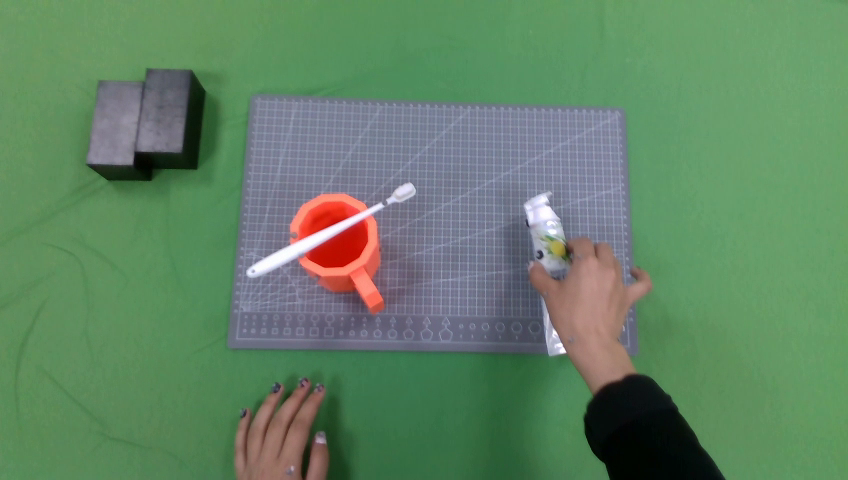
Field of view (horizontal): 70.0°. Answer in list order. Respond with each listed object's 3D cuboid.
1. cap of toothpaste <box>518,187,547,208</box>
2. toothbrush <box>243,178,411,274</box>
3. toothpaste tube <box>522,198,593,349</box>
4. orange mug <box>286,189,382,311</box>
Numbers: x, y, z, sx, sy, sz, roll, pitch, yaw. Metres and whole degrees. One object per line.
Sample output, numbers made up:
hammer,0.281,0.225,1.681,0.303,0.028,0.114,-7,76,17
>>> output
cap of toothpaste,0.121,-0.047,0.670,0.037,0.037,0.011,-25,78,-8
toothbrush,-0.092,-0.014,0.586,0.182,0.017,0.014,-29,84,-9
toothpaste tube,0.139,0.033,0.661,0.055,0.034,0.164,-13,83,-5
orange mug,-0.084,0.016,0.633,0.083,0.101,0.125,-32,76,-9
